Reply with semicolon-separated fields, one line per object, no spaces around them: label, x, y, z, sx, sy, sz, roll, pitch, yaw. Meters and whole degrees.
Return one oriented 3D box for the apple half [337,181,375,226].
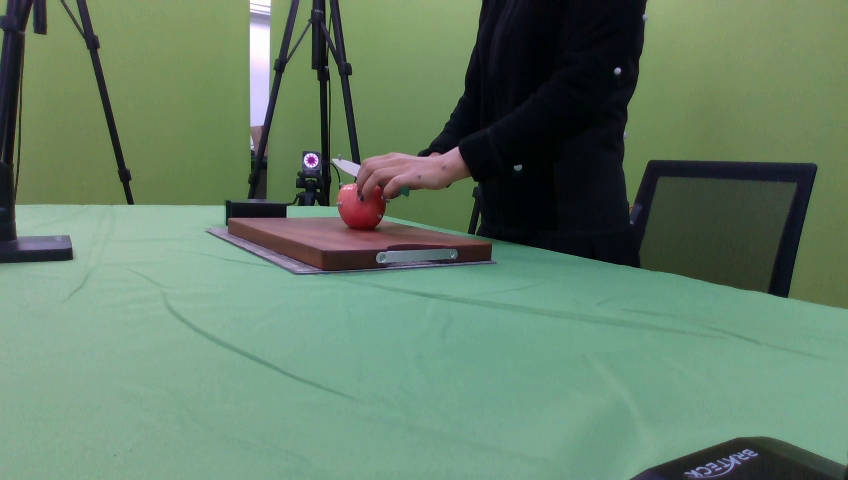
apple half;-0.121;-0.063;1.013;0.032;0.081;0.082;14;14;43

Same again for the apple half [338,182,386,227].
apple half;-0.094;-0.056;0.985;0.081;0.074;0.053;-1;12;-45

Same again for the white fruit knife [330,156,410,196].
white fruit knife;-0.088;-0.113;1.043;0.016;0.027;0.208;-4;-12;35
